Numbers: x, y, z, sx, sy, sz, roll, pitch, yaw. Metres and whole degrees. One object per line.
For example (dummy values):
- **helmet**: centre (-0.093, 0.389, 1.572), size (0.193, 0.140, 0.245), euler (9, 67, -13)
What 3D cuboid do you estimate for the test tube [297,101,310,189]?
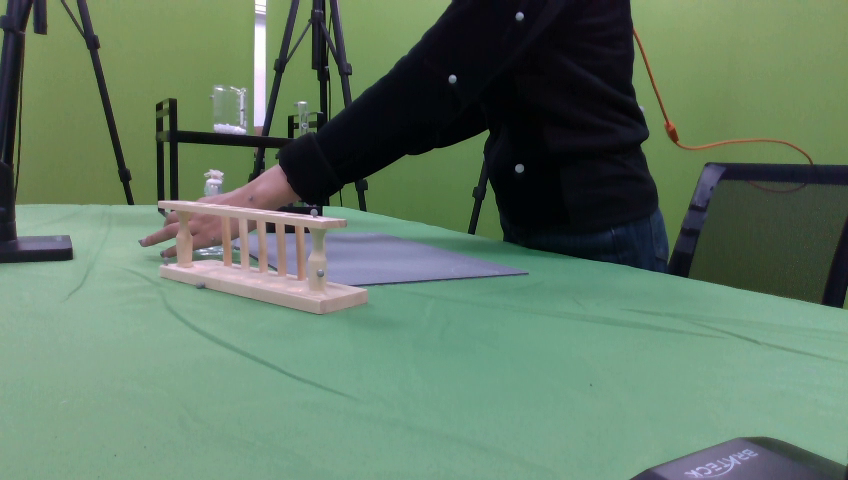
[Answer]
- **test tube**: centre (-0.205, -0.160, 1.029), size (0.017, 0.150, 0.017), euler (0, 15, 0)

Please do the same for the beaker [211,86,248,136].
- **beaker**: centre (-0.414, -0.274, 1.297), size (0.074, 0.100, 0.083), euler (-5, 11, -44)

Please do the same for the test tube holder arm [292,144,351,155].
- **test tube holder arm**: centre (-0.182, -0.166, 1.094), size (0.013, 0.015, 0.179), euler (13, 15, 21)

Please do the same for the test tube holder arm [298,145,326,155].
- **test tube holder arm**: centre (-0.193, -0.156, 1.051), size (0.010, 0.015, 0.088), euler (10, 14, 15)

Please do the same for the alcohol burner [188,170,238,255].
- **alcohol burner**: centre (-0.299, -0.039, 0.852), size (0.078, 0.119, 0.078), euler (3, 6, 0)

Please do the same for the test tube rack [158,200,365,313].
- **test tube rack**: centre (-0.174, 0.009, 0.624), size (0.241, 0.085, 0.067), euler (7, 9, 34)

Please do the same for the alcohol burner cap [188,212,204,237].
- **alcohol burner cap**: centre (-0.390, -0.029, 1.025), size (0.034, 0.048, 0.034), euler (2, 9, 0)
